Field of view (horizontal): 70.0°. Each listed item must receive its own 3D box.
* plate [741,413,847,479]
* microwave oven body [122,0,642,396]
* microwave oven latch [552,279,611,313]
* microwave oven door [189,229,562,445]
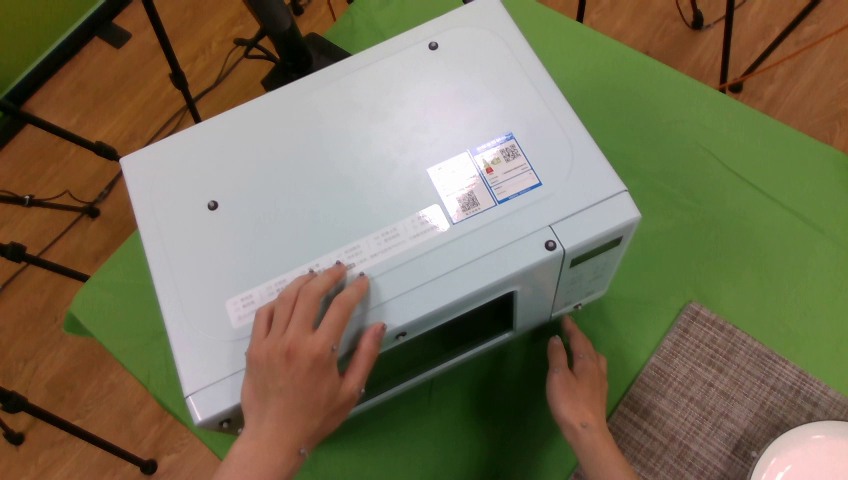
[{"bbox_3d":[0.436,0.288,0.631,0.207,0.039,0.206,-3,68,6],"label":"plate"},{"bbox_3d":[-0.047,-0.022,0.700,0.442,0.262,0.323,-25,67,-2],"label":"microwave oven body"},{"bbox_3d":[0.187,0.060,0.741,0.079,0.030,0.030,-24,67,-2],"label":"microwave oven latch"},{"bbox_3d":[-0.026,0.114,0.637,0.356,0.246,0.039,-25,66,-3],"label":"microwave oven door"}]
